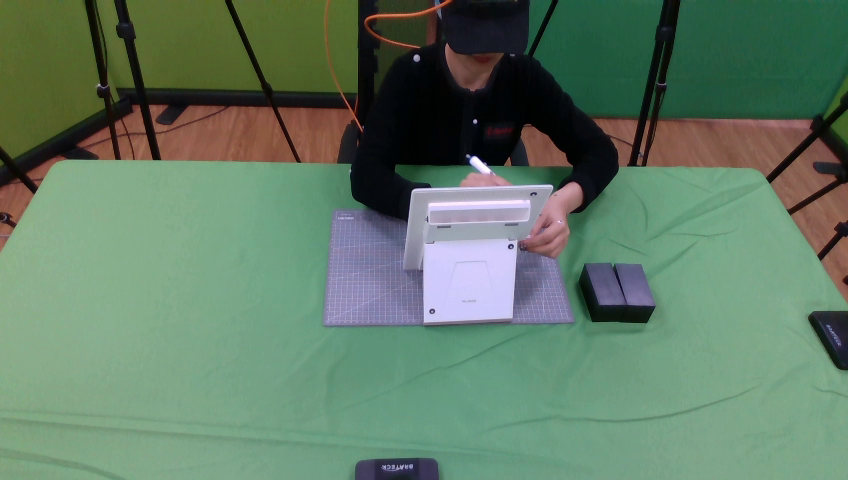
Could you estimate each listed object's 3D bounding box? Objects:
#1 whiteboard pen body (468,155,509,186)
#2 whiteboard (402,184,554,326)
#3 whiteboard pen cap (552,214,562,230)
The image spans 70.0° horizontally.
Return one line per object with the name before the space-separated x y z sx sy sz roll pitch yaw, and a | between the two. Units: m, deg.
whiteboard pen body | 0.124 -0.100 1.026 0.017 0.017 0.140 -28 58 -27
whiteboard | 0.081 0.044 1.005 0.217 0.306 0.143 -1 66 -6
whiteboard pen cap | 0.275 -0.037 1.260 0.018 0.018 0.033 1 43 -2
